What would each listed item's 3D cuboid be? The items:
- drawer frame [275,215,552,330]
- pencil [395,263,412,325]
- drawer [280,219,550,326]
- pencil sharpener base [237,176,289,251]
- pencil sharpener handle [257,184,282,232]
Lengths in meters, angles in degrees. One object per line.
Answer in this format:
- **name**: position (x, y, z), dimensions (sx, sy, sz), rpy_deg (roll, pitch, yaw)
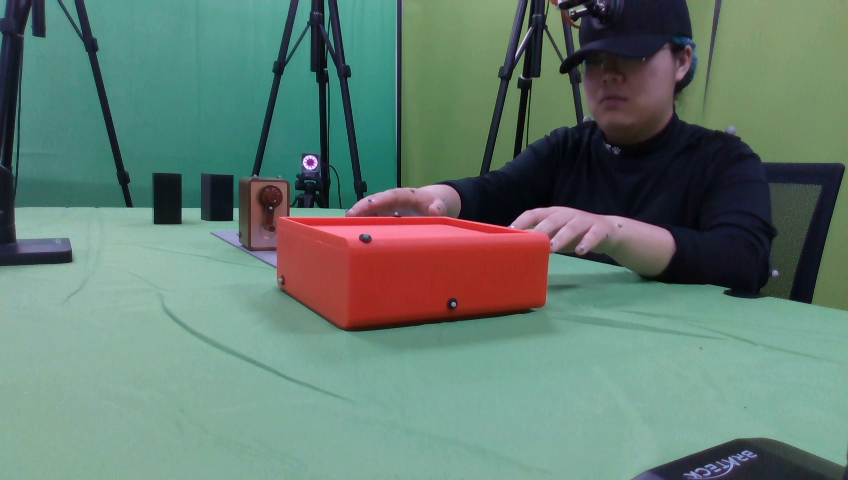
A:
- **drawer frame**: position (-0.018, 0.022, 0.610), dimensions (0.215, 0.082, 0.200), rpy_deg (-2, 9, -31)
- **pencil**: position (-0.021, 0.052, 0.614), dimensions (0.012, 0.012, 0.194), rpy_deg (3, 12, 0)
- **drawer**: position (-0.016, 0.024, 0.612), dimensions (0.213, 0.073, 0.193), rpy_deg (-3, 9, -30)
- **pencil sharpener base**: position (-0.243, -0.040, 0.912), dimensions (0.061, 0.107, 0.076), rpy_deg (-1, 8, -28)
- **pencil sharpener handle**: position (-0.220, -0.046, 0.865), dimensions (0.036, 0.067, 0.030), rpy_deg (8, 4, -29)
